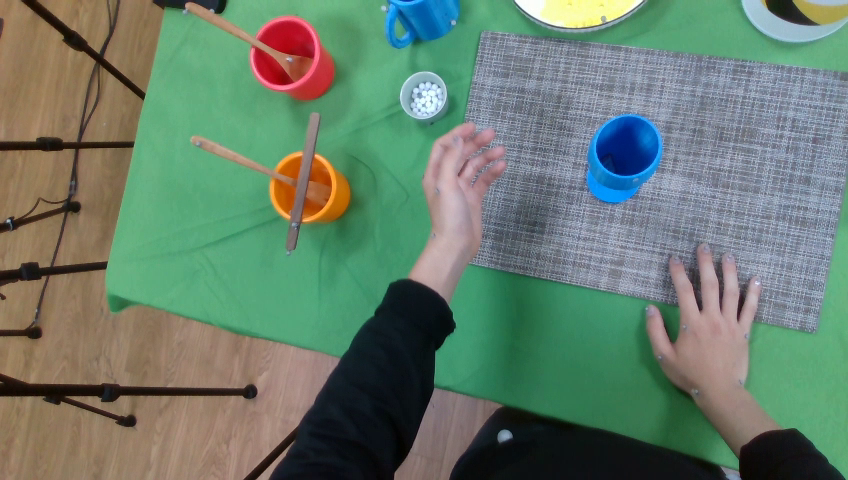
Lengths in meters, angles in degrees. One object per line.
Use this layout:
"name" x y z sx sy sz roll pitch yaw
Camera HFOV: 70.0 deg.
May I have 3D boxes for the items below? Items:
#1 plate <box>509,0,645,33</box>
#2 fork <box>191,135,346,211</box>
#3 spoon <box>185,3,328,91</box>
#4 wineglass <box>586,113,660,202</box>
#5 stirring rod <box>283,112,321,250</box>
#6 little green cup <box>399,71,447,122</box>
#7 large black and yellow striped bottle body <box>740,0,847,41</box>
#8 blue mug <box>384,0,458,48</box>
"plate" 0.194 -0.357 0.754 0.208 0.038 0.209 -1 88 13
"fork" -0.193 -0.085 0.770 0.209 0.018 0.028 23 100 -30
"spoon" -0.213 -0.252 0.786 0.195 0.021 0.041 26 95 -31
"wineglass" 0.212 -0.085 0.662 0.073 0.173 0.073 -1 86 13
"stirring rod" -0.153 -0.074 0.758 0.014 0.006 0.176 11 89 13
"little green cup" 0.002 -0.184 0.788 0.061 0.039 0.061 -1 87 13
"large black and yellow striped bottle body" 0.419 -0.301 0.626 0.130 0.184 0.130 -1 86 13
"blue mug" -0.014 -0.298 0.764 0.082 0.106 0.116 32 94 13
